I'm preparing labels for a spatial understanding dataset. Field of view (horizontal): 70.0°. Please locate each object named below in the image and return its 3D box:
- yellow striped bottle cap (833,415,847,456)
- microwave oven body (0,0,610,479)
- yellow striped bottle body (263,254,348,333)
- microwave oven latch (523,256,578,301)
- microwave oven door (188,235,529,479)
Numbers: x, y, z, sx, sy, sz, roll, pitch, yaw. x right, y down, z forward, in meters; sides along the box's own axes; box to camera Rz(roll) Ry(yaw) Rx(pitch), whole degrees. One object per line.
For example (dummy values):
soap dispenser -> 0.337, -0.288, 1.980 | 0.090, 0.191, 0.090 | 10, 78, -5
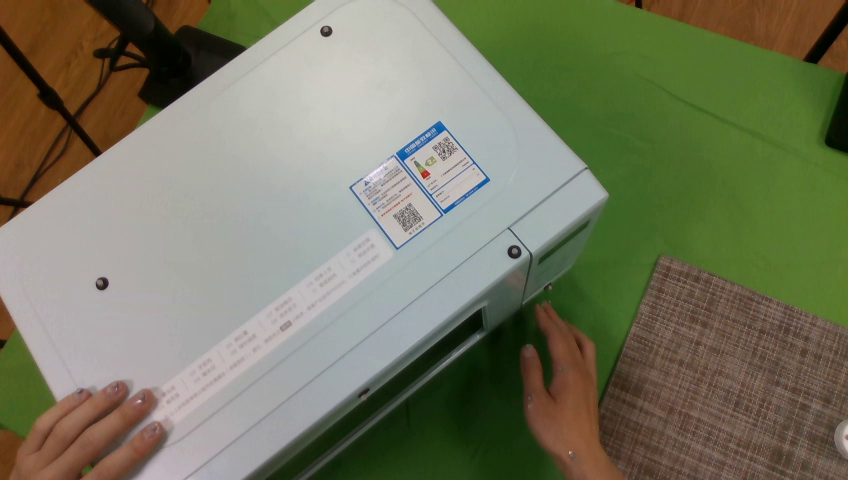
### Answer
yellow striped bottle cap -> 0.444, 0.201, 0.616 | 0.044, 0.019, 0.044 | -2, 75, 7
microwave oven body -> -0.108, 0.004, 0.603 | 0.441, 0.262, 0.324 | -38, 75, -4
yellow striped bottle body -> -0.118, 0.053, 0.600 | 0.063, 0.121, 0.062 | -1, 73, 5
microwave oven latch -> 0.132, 0.033, 0.670 | 0.079, 0.030, 0.030 | -36, 74, -3
microwave oven door -> -0.055, 0.138, 0.556 | 0.356, 0.245, 0.039 | -38, 73, -5
